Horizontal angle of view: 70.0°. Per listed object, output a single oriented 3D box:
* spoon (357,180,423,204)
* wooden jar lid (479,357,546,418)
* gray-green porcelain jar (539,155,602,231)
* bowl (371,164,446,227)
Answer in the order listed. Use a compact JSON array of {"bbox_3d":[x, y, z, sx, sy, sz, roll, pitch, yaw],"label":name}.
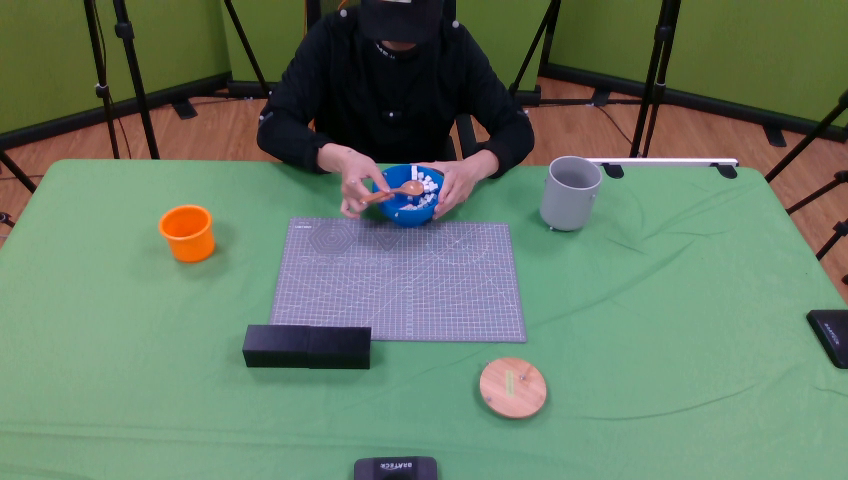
[{"bbox_3d":[-0.065,-0.092,1.172,0.041,0.022,0.194,44,31,18],"label":"spoon"},{"bbox_3d":[0.142,0.240,0.979,0.108,0.021,0.107,1,46,-1],"label":"wooden jar lid"},{"bbox_3d":[0.294,-0.091,1.235,0.106,0.127,0.105,2,46,-2],"label":"gray-green porcelain jar"},{"bbox_3d":[-0.033,-0.079,1.229,0.151,0.077,0.150,2,44,-2],"label":"bowl"}]
